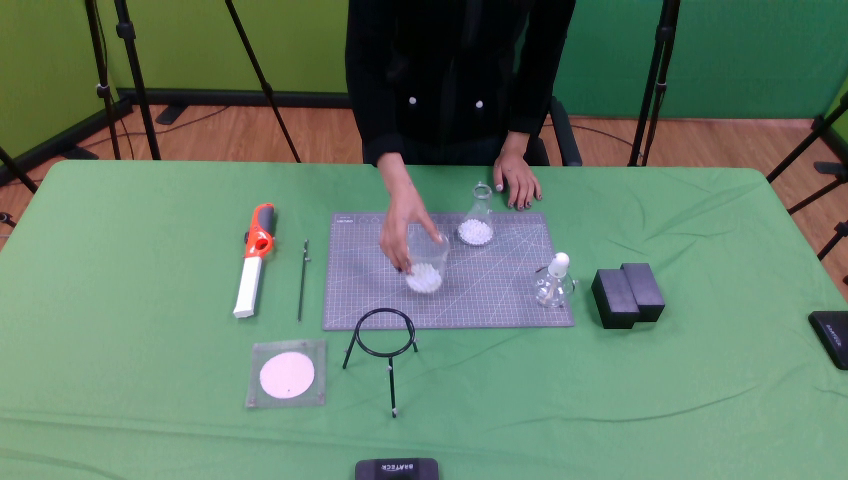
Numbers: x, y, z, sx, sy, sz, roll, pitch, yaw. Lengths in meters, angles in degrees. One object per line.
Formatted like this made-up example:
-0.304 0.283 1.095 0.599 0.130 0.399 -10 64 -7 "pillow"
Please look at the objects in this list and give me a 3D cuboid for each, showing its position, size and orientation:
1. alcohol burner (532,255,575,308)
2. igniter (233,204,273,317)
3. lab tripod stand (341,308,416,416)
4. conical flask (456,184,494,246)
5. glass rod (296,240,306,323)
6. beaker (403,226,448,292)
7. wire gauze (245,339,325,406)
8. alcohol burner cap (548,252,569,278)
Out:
0.235 0.066 1.087 0.078 0.119 0.077 4 45 -3 "alcohol burner"
-0.321 0.029 1.142 0.057 0.025 0.274 -7 46 4 "igniter"
-0.061 0.177 0.946 0.148 0.132 0.147 2 44 -2 "lab tripod stand"
0.106 -0.052 1.185 0.075 0.122 0.075 3 46 -2 "conical flask"
-0.227 0.072 1.121 0.008 0.008 0.198 -1 46 -5 "glass rod"
-0.002 0.038 1.068 0.084 0.101 0.073 -30 56 -31 "beaker"
-0.224 0.215 0.984 0.125 0.011 0.120 -2 46 -5 "wire gauze"
0.238 0.042 1.060 0.034 0.048 0.033 1 54 -1 "alcohol burner cap"
